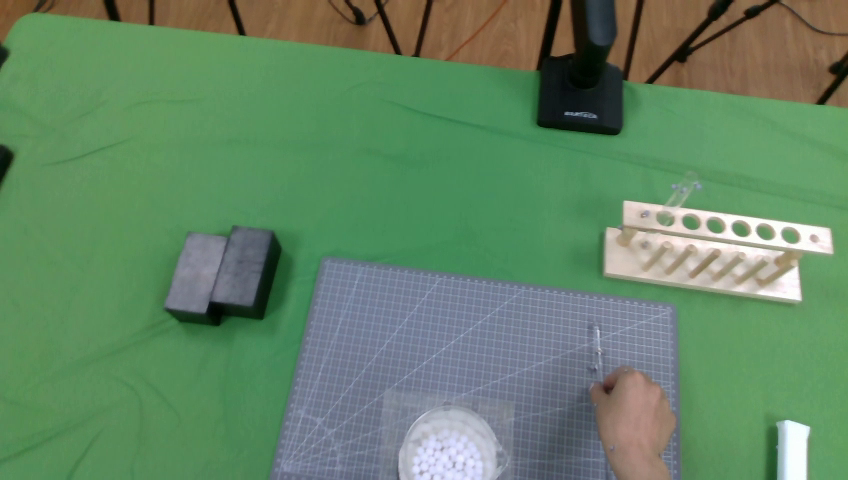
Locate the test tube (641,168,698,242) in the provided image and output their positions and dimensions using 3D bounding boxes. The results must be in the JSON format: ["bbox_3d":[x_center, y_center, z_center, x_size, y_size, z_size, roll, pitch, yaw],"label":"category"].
[{"bbox_3d":[0.285,-0.037,0.711,0.017,0.151,0.017,0,62,0],"label":"test tube"}]

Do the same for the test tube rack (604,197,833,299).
[{"bbox_3d":[0.354,0.011,0.744,0.242,0.086,0.066,8,66,3],"label":"test tube rack"}]

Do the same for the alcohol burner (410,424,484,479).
[{"bbox_3d":[0.025,0.227,0.624,0.078,0.120,0.077,1,64,-2],"label":"alcohol burner"}]

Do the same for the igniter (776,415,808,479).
[{"bbox_3d":[0.383,0.324,0.637,0.057,0.025,0.275,19,67,-4],"label":"igniter"}]

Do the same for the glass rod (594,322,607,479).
[{"bbox_3d":[0.204,0.192,0.701,0.008,0.008,0.198,3,69,0],"label":"glass rod"}]

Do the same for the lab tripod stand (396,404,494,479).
[{"bbox_3d":[0.018,0.229,0.612,0.148,0.132,0.147,0,65,1],"label":"lab tripod stand"}]

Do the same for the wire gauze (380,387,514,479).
[{"bbox_3d":[0.019,0.199,0.553,0.125,0.011,0.120,4,64,3],"label":"wire gauze"}]

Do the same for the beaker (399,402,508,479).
[{"bbox_3d":[0.023,0.182,0.507,0.084,0.101,0.073,3,65,1],"label":"beaker"}]
